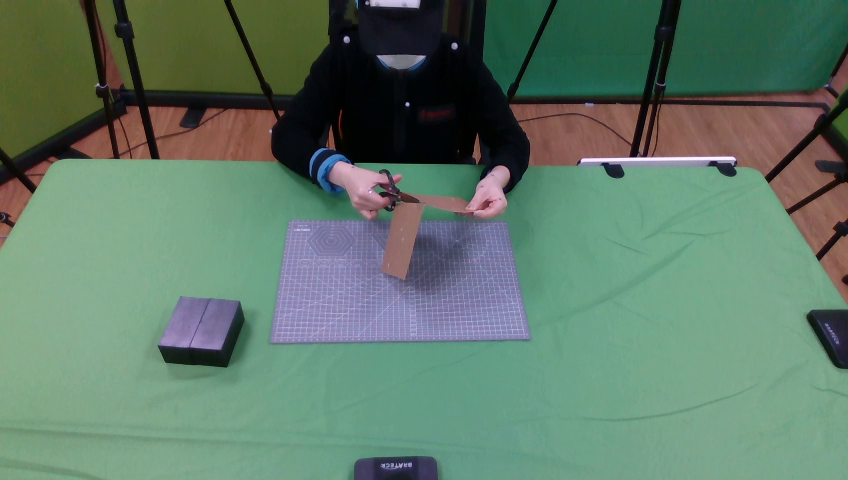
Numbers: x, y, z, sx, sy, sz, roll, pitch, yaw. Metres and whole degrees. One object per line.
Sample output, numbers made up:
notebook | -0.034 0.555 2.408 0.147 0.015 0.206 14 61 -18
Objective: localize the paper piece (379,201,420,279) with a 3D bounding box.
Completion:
paper piece | -0.047 -0.004 1.084 0.004 0.135 0.135 12 -1 -23

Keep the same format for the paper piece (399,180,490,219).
paper piece | 0.034 -0.074 1.114 0.139 0.008 0.135 11 20 -26

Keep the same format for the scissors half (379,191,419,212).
scissors half | -0.047 -0.073 1.117 0.013 0.040 0.174 -9 5 -24

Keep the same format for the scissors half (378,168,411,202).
scissors half | -0.048 -0.094 1.111 0.013 0.040 0.174 -15 32 -23
